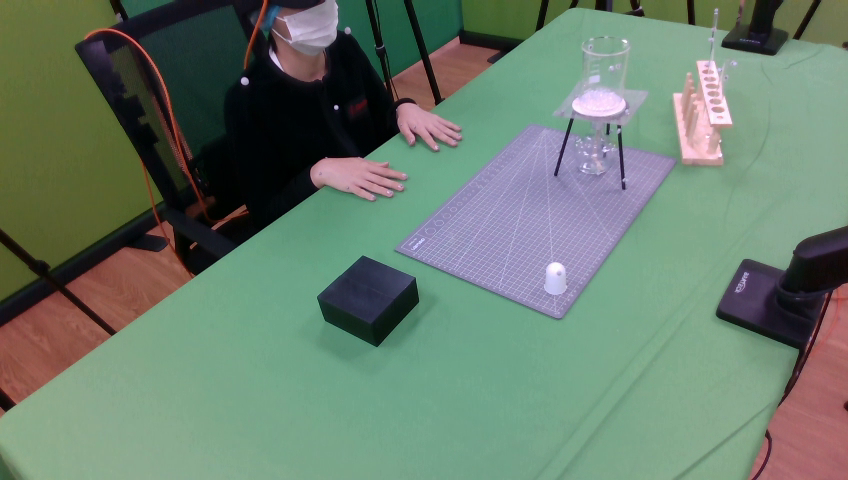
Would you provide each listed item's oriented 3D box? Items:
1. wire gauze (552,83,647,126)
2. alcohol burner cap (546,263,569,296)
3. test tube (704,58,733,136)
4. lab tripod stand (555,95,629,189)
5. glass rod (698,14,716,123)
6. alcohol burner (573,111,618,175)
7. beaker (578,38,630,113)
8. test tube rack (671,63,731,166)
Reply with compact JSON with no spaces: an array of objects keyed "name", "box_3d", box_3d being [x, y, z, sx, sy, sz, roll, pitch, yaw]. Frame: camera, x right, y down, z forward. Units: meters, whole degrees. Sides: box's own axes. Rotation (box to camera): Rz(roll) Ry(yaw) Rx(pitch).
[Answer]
[{"name":"wire gauze","box_3d":[0.293,-0.224,1.004,0.120,0.011,0.125,19,43,26]},{"name":"alcohol burner cap","box_3d":[0.191,0.053,0.862,0.034,0.048,0.033,-5,40,4]},{"name":"test tube","box_3d":[0.516,-0.247,1.062,0.017,0.151,0.017,-3,43,4]},{"name":"lab tripod stand","box_3d":[0.300,-0.174,1.045,0.148,0.132,0.147,-5,38,5]},{"name":"glass rod","box_3d":[0.531,-0.320,1.136,0.008,0.200,0.008,3,12,0]},{"name":"alcohol burner","box_3d":[0.302,-0.174,1.060,0.078,0.119,0.077,-3,41,4]},{"name":"beaker","box_3d":[0.290,-0.265,0.976,0.084,0.101,0.073,-18,41,-14]},{"name":"test tube rack","box_3d":[0.513,-0.241,1.132,0.066,0.085,0.242,4,41,14]}]
